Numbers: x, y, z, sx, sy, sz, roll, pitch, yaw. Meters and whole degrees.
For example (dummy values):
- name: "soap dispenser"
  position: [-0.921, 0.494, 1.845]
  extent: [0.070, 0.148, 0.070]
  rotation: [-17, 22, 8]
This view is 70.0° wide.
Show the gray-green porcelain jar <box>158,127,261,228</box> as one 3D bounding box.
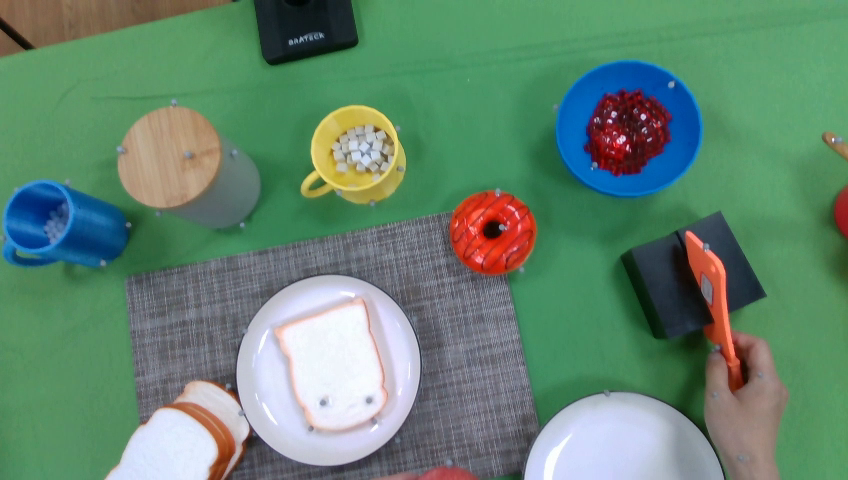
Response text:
- name: "gray-green porcelain jar"
  position: [-0.251, -0.072, 0.683]
  extent: [0.106, 0.127, 0.105]
  rotation: [-1, 80, 5]

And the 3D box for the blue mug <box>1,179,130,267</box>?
- name: "blue mug"
  position: [-0.421, -0.007, 0.698]
  extent: [0.116, 0.106, 0.082]
  rotation: [-37, 79, -1]

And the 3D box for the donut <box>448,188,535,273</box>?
- name: "donut"
  position: [0.076, -0.011, 0.681]
  extent: [0.099, 0.048, 0.098]
  rotation: [-1, 82, 5]

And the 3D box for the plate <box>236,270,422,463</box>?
- name: "plate"
  position: [-0.103, 0.139, 0.677]
  extent: [0.207, 0.039, 0.207]
  rotation: [-1, 81, 5]

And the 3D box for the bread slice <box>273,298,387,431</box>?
- name: "bread slice"
  position: [-0.096, 0.142, 0.677]
  extent: [0.107, 0.018, 0.133]
  rotation: [-23, 79, 2]

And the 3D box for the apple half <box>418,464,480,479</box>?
- name: "apple half"
  position: [0.035, 0.242, 0.556]
  extent: [0.053, 0.075, 0.080]
  rotation: [-27, 72, 2]

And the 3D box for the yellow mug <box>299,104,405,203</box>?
- name: "yellow mug"
  position: [-0.089, -0.089, 0.702]
  extent: [0.131, 0.064, 0.099]
  rotation: [-35, 79, 0]

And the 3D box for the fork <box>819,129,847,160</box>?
- name: "fork"
  position: [0.447, -0.061, 0.606]
  extent: [0.209, 0.018, 0.028]
  rotation: [25, 80, -33]

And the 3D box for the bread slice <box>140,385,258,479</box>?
- name: "bread slice"
  position: [-0.240, 0.230, 0.674]
  extent: [0.105, 0.019, 0.131]
  rotation: [23, 83, 2]

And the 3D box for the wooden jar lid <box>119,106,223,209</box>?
- name: "wooden jar lid"
  position: [-0.257, -0.083, 0.622]
  extent: [0.108, 0.021, 0.108]
  rotation: [-1, 79, 6]

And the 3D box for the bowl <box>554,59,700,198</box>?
- name: "bowl"
  position: [0.216, -0.113, 0.671]
  extent: [0.151, 0.077, 0.151]
  rotation: [-1, 81, 5]

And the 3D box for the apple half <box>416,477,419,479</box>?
- name: "apple half"
  position: [0.001, 0.260, 0.558]
  extent: [0.033, 0.081, 0.081]
  rotation: [-27, 79, 5]

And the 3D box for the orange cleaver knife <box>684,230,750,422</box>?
- name: "orange cleaver knife"
  position: [0.302, 0.091, 0.629]
  extent: [0.012, 0.076, 0.212]
  rotation: [-19, 109, 3]

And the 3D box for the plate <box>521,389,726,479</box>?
- name: "plate"
  position: [0.205, 0.260, 0.633]
  extent: [0.209, 0.038, 0.208]
  rotation: [-1, 81, 6]
